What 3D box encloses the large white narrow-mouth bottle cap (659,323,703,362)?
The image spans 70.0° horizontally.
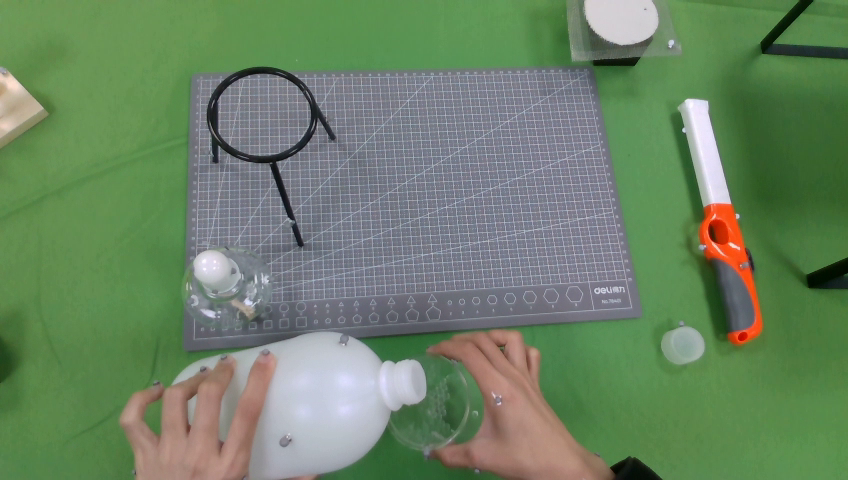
[{"bbox_3d":[0.257,0.103,0.608,0.038,0.024,0.037,2,71,-4],"label":"large white narrow-mouth bottle cap"}]

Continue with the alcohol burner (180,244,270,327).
[{"bbox_3d":[-0.177,0.035,0.531,0.078,0.119,0.077,3,70,-7],"label":"alcohol burner"}]

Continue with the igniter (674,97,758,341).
[{"bbox_3d":[0.313,-0.029,0.653,0.057,0.025,0.274,1,72,-17],"label":"igniter"}]

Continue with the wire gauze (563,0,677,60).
[{"bbox_3d":[0.214,-0.256,0.676,0.122,0.011,0.124,-1,73,-6],"label":"wire gauze"}]

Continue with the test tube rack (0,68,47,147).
[{"bbox_3d":[-0.491,-0.086,0.555,0.066,0.085,0.242,44,73,9],"label":"test tube rack"}]

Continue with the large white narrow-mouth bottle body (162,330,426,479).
[{"bbox_3d":[-0.091,0.122,0.455,0.194,0.102,0.101,-16,71,20],"label":"large white narrow-mouth bottle body"}]

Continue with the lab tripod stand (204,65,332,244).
[{"bbox_3d":[-0.140,-0.083,0.564,0.149,0.132,0.147,2,72,-7],"label":"lab tripod stand"}]

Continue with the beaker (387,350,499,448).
[{"bbox_3d":[0.016,0.135,0.516,0.083,0.101,0.073,6,78,25],"label":"beaker"}]

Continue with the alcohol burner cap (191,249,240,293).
[{"bbox_3d":[-0.173,0.024,0.497,0.034,0.048,0.033,1,77,-5],"label":"alcohol burner cap"}]
